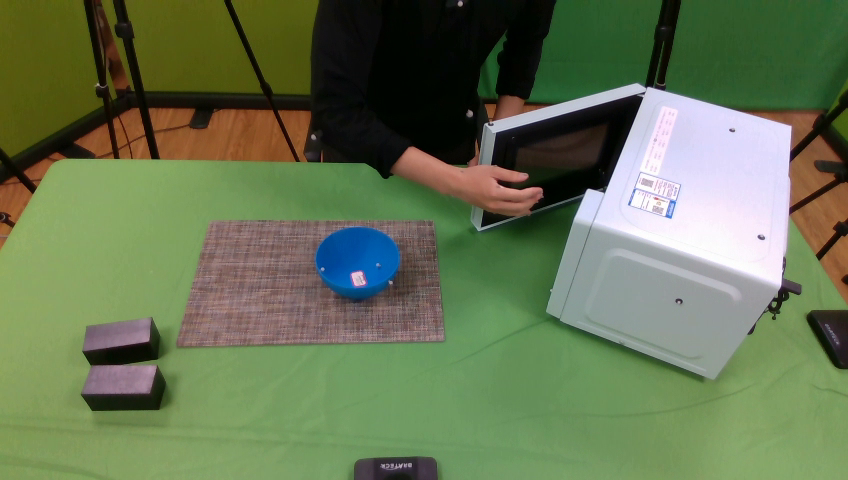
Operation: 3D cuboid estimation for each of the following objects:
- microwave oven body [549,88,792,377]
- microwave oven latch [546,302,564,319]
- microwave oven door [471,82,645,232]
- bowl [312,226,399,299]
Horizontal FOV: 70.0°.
[{"bbox_3d":[0.456,-0.028,1.088,0.325,0.261,0.440,20,47,16],"label":"microwave oven body"},{"bbox_3d":[0.242,0.102,1.081,0.030,0.029,0.079,22,48,17],"label":"microwave oven latch"},{"bbox_3d":[0.264,-0.164,1.197,0.356,0.245,0.039,-19,49,-20],"label":"microwave oven door"},{"bbox_3d":[-0.120,0.054,1.091,0.151,0.077,0.150,2,46,-2],"label":"bowl"}]
